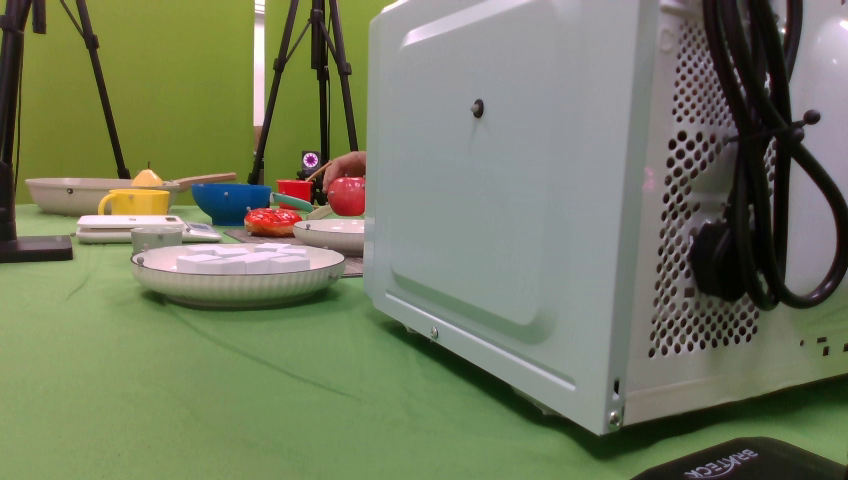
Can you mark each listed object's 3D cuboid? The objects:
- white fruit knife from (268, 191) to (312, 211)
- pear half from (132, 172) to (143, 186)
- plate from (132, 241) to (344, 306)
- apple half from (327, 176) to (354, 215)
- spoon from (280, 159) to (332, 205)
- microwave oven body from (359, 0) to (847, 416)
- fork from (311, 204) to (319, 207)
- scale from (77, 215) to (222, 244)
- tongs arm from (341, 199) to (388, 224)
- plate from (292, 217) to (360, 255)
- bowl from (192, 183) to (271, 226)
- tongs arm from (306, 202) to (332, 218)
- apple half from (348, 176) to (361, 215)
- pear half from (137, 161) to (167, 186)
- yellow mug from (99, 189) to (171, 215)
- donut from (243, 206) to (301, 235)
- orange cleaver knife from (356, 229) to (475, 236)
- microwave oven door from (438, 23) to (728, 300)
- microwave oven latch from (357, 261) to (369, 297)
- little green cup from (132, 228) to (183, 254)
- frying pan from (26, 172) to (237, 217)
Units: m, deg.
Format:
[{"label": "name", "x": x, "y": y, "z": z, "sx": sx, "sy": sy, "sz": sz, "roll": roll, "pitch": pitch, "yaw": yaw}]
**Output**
[{"label": "white fruit knife", "x": -0.364, "y": -0.105, "z": 1.464, "sx": 0.208, "sy": 0.027, "sz": 0.016, "roll": 15, "pitch": 0, "yaw": -34}, {"label": "pear half", "x": -0.638, "y": -0.113, "z": 1.361, "sx": 0.031, "sy": 0.088, "sz": 0.070, "roll": 5, "pitch": 11, "yaw": 4}, {"label": "plate", "x": -0.187, "y": 0.033, "z": 0.625, "sx": 0.208, "sy": 0.039, "sz": 0.207, "roll": 2, "pitch": 7, "yaw": 0}, {"label": "apple half", "x": -0.154, "y": -0.083, "z": 1.135, "sx": 0.053, "sy": 0.074, "sz": 0.081, "roll": -3, "pitch": 11, "yaw": 12}, {"label": "spoon", "x": -0.316, "y": -0.159, "z": 1.640, "sx": 0.194, "sy": 0.022, "sz": 0.041, "roll": -50, "pitch": 32, "yaw": -20}, {"label": "microwave oven body", "x": 0.211, "y": -0.047, "z": 0.474, "sx": 0.444, "sy": 0.260, "sz": 0.324, "roll": -1, "pitch": 7, "yaw": -28}, {"label": "fork", "x": -0.356, "y": -0.105, "z": 1.526, "sx": 0.208, "sy": 0.018, "sz": 0.028, "roll": 16, "pitch": -6, "yaw": -41}, {"label": "scale", "x": -0.434, "y": -0.019, "z": 0.963, "sx": 0.202, "sy": 0.031, "sz": 0.148, "roll": -1, "pitch": 9, "yaw": -27}, {"label": "tongs arm", "x": -0.149, "y": -0.070, "z": 1.429, "sx": 0.051, "sy": 0.026, "sz": 0.383, "roll": -4, "pitch": 9, "yaw": -15}, {"label": "plate", "x": -0.098, "y": -0.007, "z": 0.928, "sx": 0.209, "sy": 0.038, "sz": 0.209, "roll": 3, "pitch": 8, "yaw": 0}, {"label": "bowl", "x": -0.382, "y": -0.071, "z": 1.202, "sx": 0.151, "sy": 0.077, "sz": 0.151, "roll": 3, "pitch": 7, "yaw": 0}, {"label": "tongs arm", "x": -0.234, "y": -0.069, "z": 1.414, "sx": 0.028, "sy": 0.028, "sz": 0.387, "roll": -5, "pitch": 8, "yaw": 1}, {"label": "apple half", "x": -0.116, "y": -0.085, "z": 1.127, "sx": 0.033, "sy": 0.081, "sz": 0.081, "roll": -3, "pitch": 6, "yaw": 13}, {"label": "pear half", "x": -0.602, "y": -0.120, "z": 1.354, "sx": 0.056, "sy": 0.110, "sz": 0.076, "roll": 4, "pitch": 11, "yaw": 6}, {"label": "yellow mug", "x": -0.518, "y": -0.055, "z": 1.080, "sx": 0.099, "sy": 0.064, "sz": 0.131, "roll": 7, "pitch": 9, "yaw": 26}, {"label": "donut", "x": -0.261, "y": -0.032, "z": 1.043, "sx": 0.099, "sy": 0.048, "sz": 0.099, "roll": 4, "pitch": 9, "yaw": 0}, {"label": "orange cleaver knife", "x": -0.017, "y": -0.014, "z": 1.081, "sx": 0.211, "sy": 0.012, "sz": 0.077, "roll": 0, "pitch": 2, "yaw": -3}, {"label": "microwave oven door", "x": 0.181, "y": -0.073, "z": 0.621, "sx": 0.358, "sy": 0.243, "sz": 0.039, "roll": -2, "pitch": 8, "yaw": -29}, {"label": "microwave oven latch", "x": -0.019, "y": 0.033, "z": 0.531, "sx": 0.079, "sy": 0.029, "sz": 0.030, "roll": -1, "pitch": 7, "yaw": -26}, {"label": "little green cup", "x": -0.342, "y": 0.006, "z": 0.779, "sx": 0.061, "sy": 0.038, "sz": 0.061, "roll": 2, "pitch": 8, "yaw": 0}, {"label": "frying pan", "x": -0.624, "y": -0.118, "z": 1.387, "sx": 0.305, "sy": 0.102, "sz": 0.490, "roll": 8, "pitch": 17, "yaw": 32}]
